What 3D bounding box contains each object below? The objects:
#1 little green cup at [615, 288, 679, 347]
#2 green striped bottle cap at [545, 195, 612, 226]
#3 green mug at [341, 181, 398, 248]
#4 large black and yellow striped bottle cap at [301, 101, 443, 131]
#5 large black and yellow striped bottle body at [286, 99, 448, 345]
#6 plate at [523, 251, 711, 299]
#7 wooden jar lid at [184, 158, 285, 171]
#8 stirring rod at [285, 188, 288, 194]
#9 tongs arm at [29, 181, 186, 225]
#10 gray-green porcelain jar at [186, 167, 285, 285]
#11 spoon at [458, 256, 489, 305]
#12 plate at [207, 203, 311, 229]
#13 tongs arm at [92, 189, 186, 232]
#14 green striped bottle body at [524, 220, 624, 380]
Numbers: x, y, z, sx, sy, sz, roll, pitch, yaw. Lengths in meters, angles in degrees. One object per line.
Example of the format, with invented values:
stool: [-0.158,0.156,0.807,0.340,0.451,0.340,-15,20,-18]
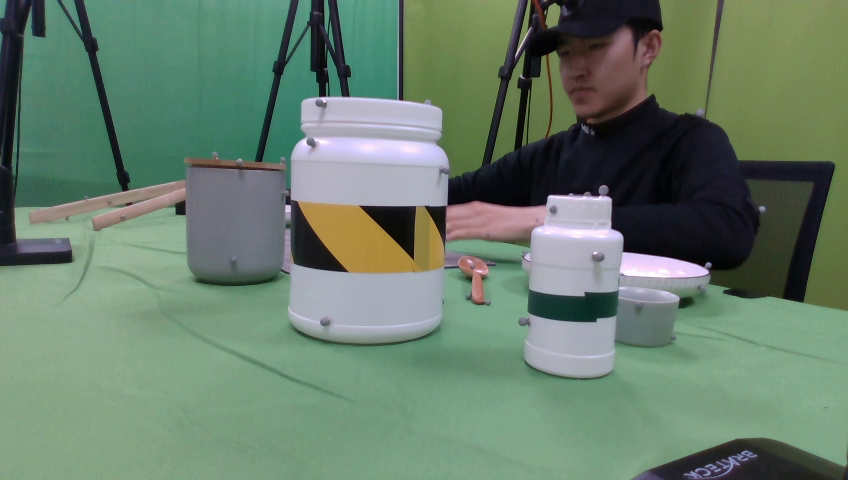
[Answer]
little green cup: [0.180,0.064,0.506,0.061,0.038,0.061,2,7,0]
green striped bottle cap: [0.106,-0.020,0.414,0.044,0.020,0.044,2,4,0]
green mug: [-0.090,-0.044,0.997,0.093,0.105,0.125,1,7,-8]
large black and yellow striped bottle cap: [-0.042,-0.100,0.491,0.115,0.019,0.115,1,8,0]
large black and yellow striped bottle body: [-0.047,-0.018,0.501,0.131,0.184,0.130,2,7,0]
plate: [0.219,0.041,0.706,0.209,0.038,0.209,2,7,0]
wooden jar lid: [-0.210,-0.078,0.674,0.108,0.020,0.108,4,6,0]
stirring rod: [-0.354,-0.122,1.519,0.006,0.014,0.176,2,6,1]
tongs arm: [-0.609,-0.083,1.245,0.050,0.026,0.386,5,16,23]
gray-green porcelain jar: [-0.212,-0.017,0.682,0.106,0.126,0.106,2,7,0]
spoon: [0.059,0.044,0.696,0.041,0.021,0.194,21,7,0]
plate: [-0.342,-0.050,1.259,0.208,0.039,0.207,2,7,0]
tongs arm: [-0.534,-0.076,1.221,0.028,0.028,0.388,-2,15,12]
green striped bottle body: [0.104,0.031,0.422,0.063,0.119,0.063,2,7,0]
